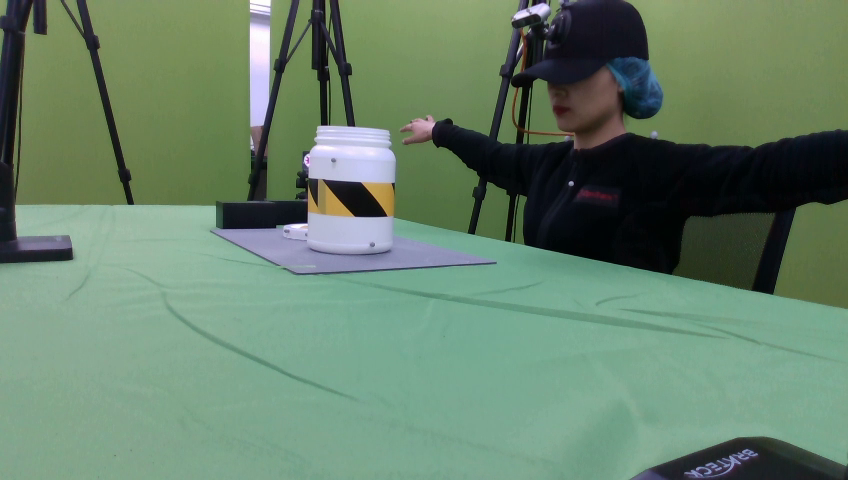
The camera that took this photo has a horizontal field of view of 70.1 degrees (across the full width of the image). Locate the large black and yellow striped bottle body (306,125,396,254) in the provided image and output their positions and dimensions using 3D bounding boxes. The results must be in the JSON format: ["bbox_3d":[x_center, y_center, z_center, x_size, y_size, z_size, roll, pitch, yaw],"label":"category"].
[{"bbox_3d":[-0.109,-0.077,0.913,0.131,0.184,0.130,3,8,0],"label":"large black and yellow striped bottle body"}]

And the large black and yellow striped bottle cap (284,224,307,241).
[{"bbox_3d":[-0.186,-0.014,1.055,0.115,0.019,0.115,1,8,0],"label":"large black and yellow striped bottle cap"}]
